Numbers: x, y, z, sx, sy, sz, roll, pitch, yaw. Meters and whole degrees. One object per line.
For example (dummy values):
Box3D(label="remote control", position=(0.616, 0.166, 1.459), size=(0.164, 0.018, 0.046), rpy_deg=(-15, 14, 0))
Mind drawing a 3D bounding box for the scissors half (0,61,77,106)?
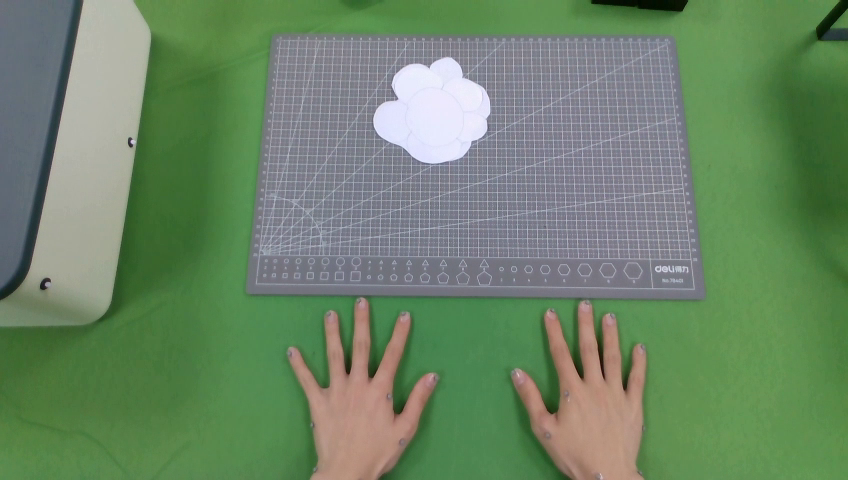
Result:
Box3D(label="scissors half", position=(-0.461, -0.150, 0.645), size=(0.175, 0.040, 0.012), rpy_deg=(-26, 42, -8))

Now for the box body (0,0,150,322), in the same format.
Box3D(label="box body", position=(-0.425, -0.106, 0.568), size=(0.254, 0.161, 0.362), rpy_deg=(-1, 73, 1))

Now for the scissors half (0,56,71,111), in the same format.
Box3D(label="scissors half", position=(-0.456, -0.141, 0.654), size=(0.175, 0.040, 0.012), rpy_deg=(-33, 37, -1))

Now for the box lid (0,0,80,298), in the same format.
Box3D(label="box lid", position=(-0.426, -0.131, 0.496), size=(0.263, 0.015, 0.369), rpy_deg=(0, 73, -1))

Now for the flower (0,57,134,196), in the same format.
Box3D(label="flower", position=(-0.421, -0.086, 0.649), size=(0.038, 0.044, 0.359), rpy_deg=(-2, 49, 34))
